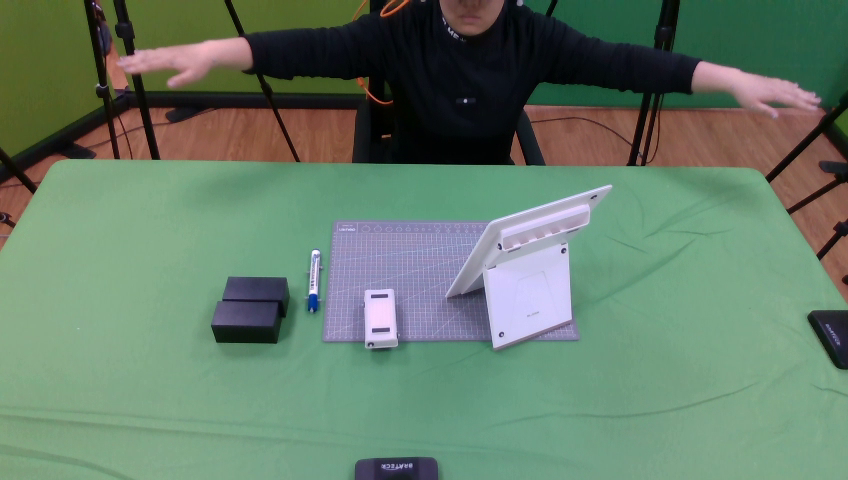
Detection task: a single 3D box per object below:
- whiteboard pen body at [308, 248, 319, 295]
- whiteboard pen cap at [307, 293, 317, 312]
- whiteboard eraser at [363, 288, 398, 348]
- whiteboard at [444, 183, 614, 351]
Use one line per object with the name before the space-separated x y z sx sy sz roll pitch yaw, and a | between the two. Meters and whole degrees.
whiteboard pen body | -0.204 0.069 1.119 0.017 0.017 0.140 -1 47 -5
whiteboard pen cap | -0.199 0.110 1.078 0.018 0.018 0.033 -2 47 -6
whiteboard eraser | -0.076 0.136 1.042 0.056 0.042 0.112 -1 46 -7
whiteboard | 0.186 0.065 0.989 0.217 0.306 0.143 -16 68 -19
